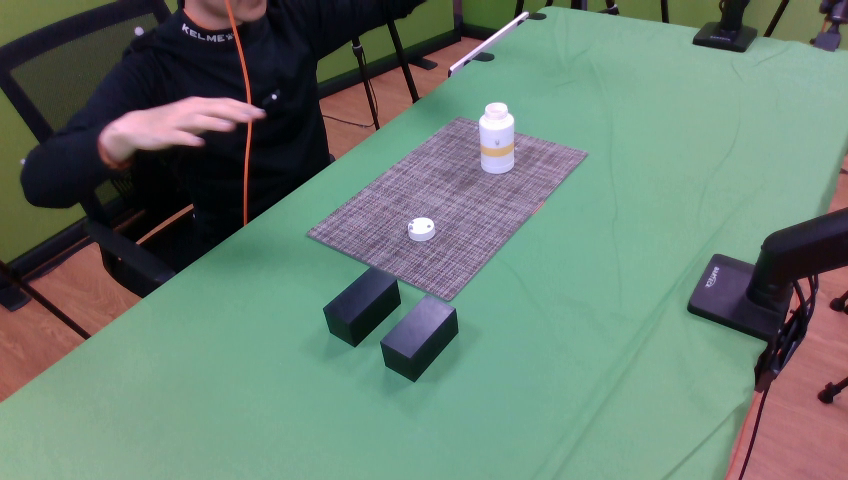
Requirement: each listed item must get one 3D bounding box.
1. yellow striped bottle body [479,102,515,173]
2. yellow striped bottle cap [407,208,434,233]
[{"bbox_3d":[0.131,-0.186,1.083,0.063,0.121,0.062,-4,41,4],"label":"yellow striped bottle body"},{"bbox_3d":[-0.006,-0.032,0.972,0.044,0.019,0.044,2,44,-2],"label":"yellow striped bottle cap"}]
